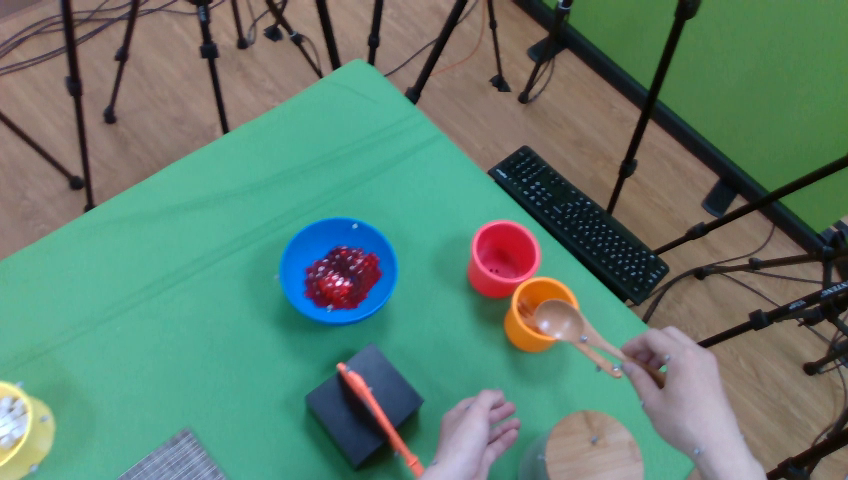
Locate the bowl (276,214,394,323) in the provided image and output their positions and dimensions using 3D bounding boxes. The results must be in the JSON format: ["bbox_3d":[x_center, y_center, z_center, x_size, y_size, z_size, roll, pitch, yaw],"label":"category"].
[{"bbox_3d":[-0.117,0.049,0.804,0.152,0.077,0.150,4,62,-8],"label":"bowl"}]

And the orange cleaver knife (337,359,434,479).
[{"bbox_3d":[-0.039,0.229,0.721,0.012,0.077,0.212,-36,97,-19],"label":"orange cleaver knife"}]

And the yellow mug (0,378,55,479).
[{"bbox_3d":[-0.478,0.221,0.658,0.100,0.064,0.130,17,61,0],"label":"yellow mug"}]

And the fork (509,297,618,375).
[{"bbox_3d":[0.174,0.120,0.777,0.028,0.019,0.205,-20,24,-20],"label":"fork"}]

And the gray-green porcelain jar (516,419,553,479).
[{"bbox_3d":[0.170,0.266,0.713,0.106,0.127,0.105,4,61,-7],"label":"gray-green porcelain jar"}]

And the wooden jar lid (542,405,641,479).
[{"bbox_3d":[0.179,0.235,0.656,0.108,0.021,0.107,3,63,-5],"label":"wooden jar lid"}]

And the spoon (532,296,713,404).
[{"bbox_3d":[0.198,0.114,0.617,0.192,0.022,0.041,29,89,24],"label":"spoon"}]
